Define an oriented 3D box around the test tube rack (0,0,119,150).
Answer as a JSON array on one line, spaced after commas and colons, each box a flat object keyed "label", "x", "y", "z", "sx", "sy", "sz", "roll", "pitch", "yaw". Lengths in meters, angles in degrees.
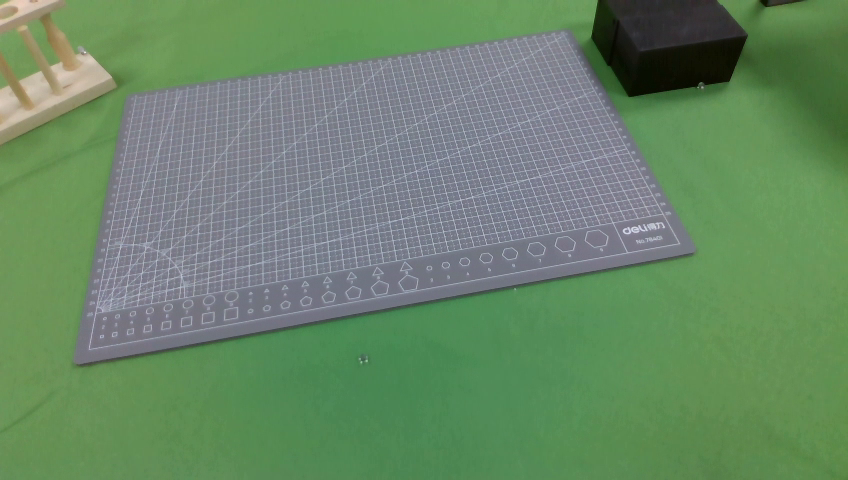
[{"label": "test tube rack", "x": -0.420, "y": -0.127, "z": 0.546, "sx": 0.242, "sy": 0.086, "sz": 0.066, "roll": -37, "pitch": 58, "yaw": -23}]
